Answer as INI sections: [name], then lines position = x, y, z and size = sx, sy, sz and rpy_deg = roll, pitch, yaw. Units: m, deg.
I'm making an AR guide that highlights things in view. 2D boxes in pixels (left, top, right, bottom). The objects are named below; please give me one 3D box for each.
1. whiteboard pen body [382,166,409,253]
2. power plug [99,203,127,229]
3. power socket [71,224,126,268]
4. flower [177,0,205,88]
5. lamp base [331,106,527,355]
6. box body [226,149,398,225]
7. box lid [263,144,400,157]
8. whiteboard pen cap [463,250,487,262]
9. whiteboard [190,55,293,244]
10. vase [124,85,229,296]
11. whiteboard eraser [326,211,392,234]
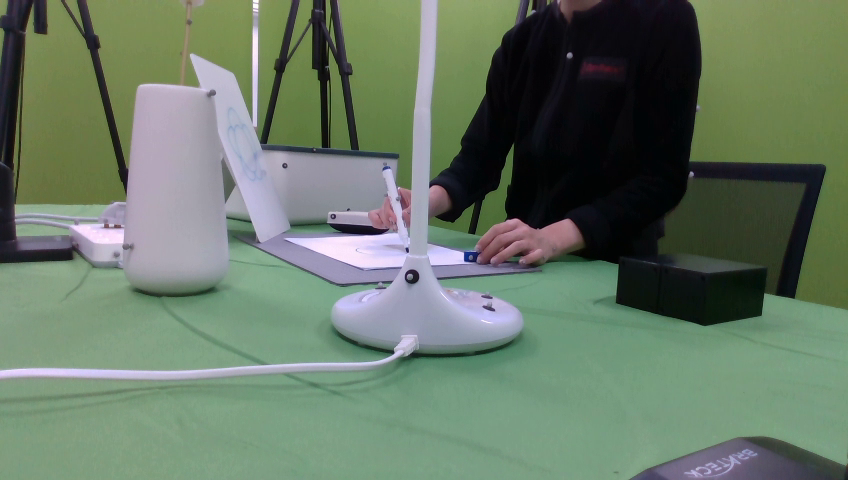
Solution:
[whiteboard pen body]
position = -0.041, -0.047, 0.924
size = 0.017, 0.140, 0.017
rpy_deg = -15, -11, -3
[power plug]
position = -0.415, -0.026, 0.848
size = 0.073, 0.052, 0.035
rpy_deg = 6, 5, -28
[power socket]
position = -0.409, 0.004, 0.793
size = 0.072, 0.032, 0.225
rpy_deg = -2, 8, -37
[flower]
position = -0.243, -0.131, 0.609
size = 0.044, 0.361, 0.038
rpy_deg = -5, -12, 12
[lamp base]
position = 0.006, -0.012, 0.478
size = 0.161, 0.180, 0.179
rpy_deg = 2, 10, 2
[box body]
position = -0.265, -0.129, 1.380
size = 0.253, 0.160, 0.366
rpy_deg = 8, 9, 39
[box lid]
position = -0.263, -0.203, 1.369
size = 0.262, 0.015, 0.373
rpy_deg = 9, 10, 39
[whiteboard pen cap]
position = 0.072, 0.023, 0.851
size = 0.033, 0.018, 0.018
rpy_deg = -1, 7, 9
[whiteboard]
position = -0.362, -0.129, 1.029
size = 0.144, 0.305, 0.217
rpy_deg = -18, 7, 3
[vase]
position = -0.244, -0.047, 0.598
size = 0.098, 0.200, 0.098
rpy_deg = 3, 8, 0
[whiteboard eraser]
position = -0.121, -0.033, 1.131
size = 0.112, 0.042, 0.056
rpy_deg = 4, 8, 13
